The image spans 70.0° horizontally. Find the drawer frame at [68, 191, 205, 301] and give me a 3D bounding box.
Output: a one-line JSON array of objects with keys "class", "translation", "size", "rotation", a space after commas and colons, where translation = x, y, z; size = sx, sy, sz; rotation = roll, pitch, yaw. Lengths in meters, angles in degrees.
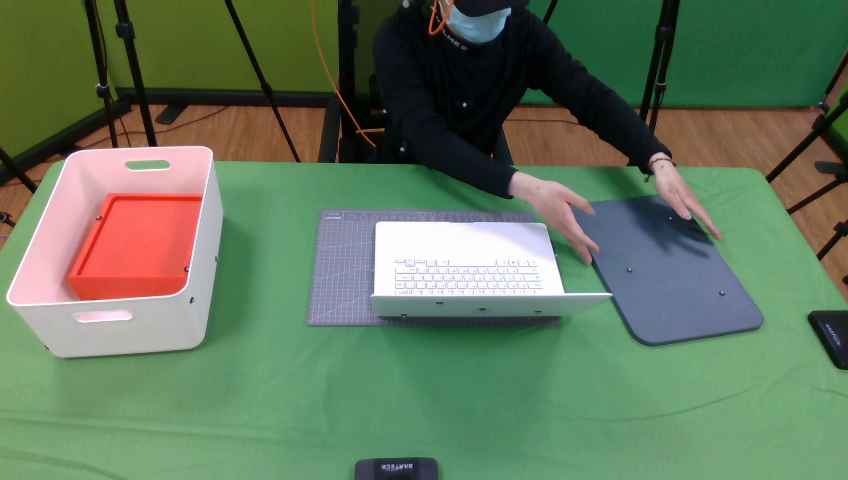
[{"class": "drawer frame", "translation": [-0.495, 0.009, 1.101], "size": [0.202, 0.083, 0.212], "rotation": [0, 47, -4]}]

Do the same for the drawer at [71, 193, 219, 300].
[{"class": "drawer", "translation": [-0.496, 0.008, 1.102], "size": [0.194, 0.073, 0.210], "rotation": [0, 47, -3]}]

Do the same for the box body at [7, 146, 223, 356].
[{"class": "box body", "translation": [-0.499, 0.012, 1.051], "size": [0.254, 0.161, 0.361], "rotation": [-3, 47, -7]}]

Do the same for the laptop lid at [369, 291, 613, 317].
[{"class": "laptop lid", "translation": [0.092, 0.104, 0.965], "size": [0.357, 0.242, 0.013], "rotation": [0, 76, -5]}]

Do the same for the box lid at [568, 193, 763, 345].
[{"class": "box lid", "translation": [0.464, 0.040, 1.203], "size": [0.264, 0.015, 0.369], "rotation": [-7, 47, -11]}]

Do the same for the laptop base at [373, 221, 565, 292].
[{"class": "laptop base", "translation": [0.080, 0.049, 1.159], "size": [0.355, 0.023, 0.234], "rotation": [0, 43, -4]}]

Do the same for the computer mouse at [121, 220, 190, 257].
[{"class": "computer mouse", "translation": [-0.510, -0.004, 1.152], "size": [0.117, 0.041, 0.062], "rotation": [12, 42, -3]}]
